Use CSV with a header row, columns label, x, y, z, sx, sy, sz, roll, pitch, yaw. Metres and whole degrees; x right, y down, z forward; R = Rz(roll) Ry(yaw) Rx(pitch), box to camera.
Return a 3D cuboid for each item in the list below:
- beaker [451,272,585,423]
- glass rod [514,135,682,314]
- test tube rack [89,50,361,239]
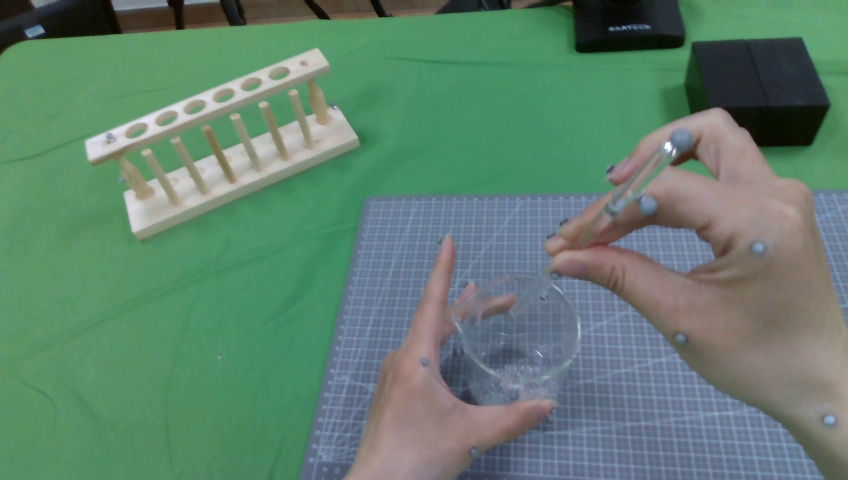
label,x,y,z,sx,sy,sz,roll,pitch,yaw
beaker,0.061,0.078,0.413,0.084,0.101,0.073,11,59,12
glass rod,0.067,0.006,0.276,0.008,0.200,0.008,2,68,-5
test tube rack,-0.194,-0.098,0.614,0.242,0.086,0.066,-25,52,-10
